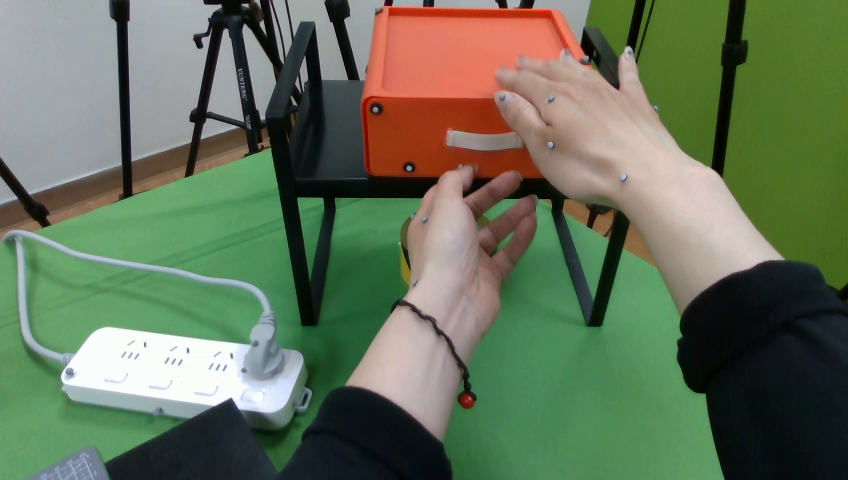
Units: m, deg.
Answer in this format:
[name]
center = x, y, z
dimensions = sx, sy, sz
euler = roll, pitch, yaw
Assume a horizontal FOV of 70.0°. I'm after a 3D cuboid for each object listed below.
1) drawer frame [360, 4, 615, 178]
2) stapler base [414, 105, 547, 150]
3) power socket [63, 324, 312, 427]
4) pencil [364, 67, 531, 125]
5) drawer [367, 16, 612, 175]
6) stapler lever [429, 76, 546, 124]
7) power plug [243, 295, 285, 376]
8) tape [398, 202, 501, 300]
[drawer frame]
center = 0.048, -0.147, 0.569
dimensions = 0.202, 0.083, 0.211
euler = 0, 39, -2
[stapler base]
center = 0.055, -0.108, 0.560
dimensions = 0.131, 0.024, 0.041
euler = -11, 45, -26
[power socket]
center = -0.215, 0.122, 0.554
dimensions = 0.226, 0.033, 0.071
euler = 6, 39, 6
[pencil]
center = 0.027, -0.145, 0.608
dimensions = 0.194, 0.012, 0.012
euler = -23, 45, -21
[drawer]
center = 0.050, -0.144, 0.569
dimensions = 0.194, 0.074, 0.209
euler = 0, 39, -1
[stapler lever]
center = 0.059, -0.128, 0.546
dimensions = 0.118, 0.040, 0.026
euler = -11, 45, -26
[power plug]
center = -0.137, 0.094, 0.555
dimensions = 0.035, 0.053, 0.072
euler = 13, 41, 14
[tape]
center = 0.028, 0.010, 0.686
dimensions = 0.117, 0.053, 0.115
euler = 1, 40, -1
